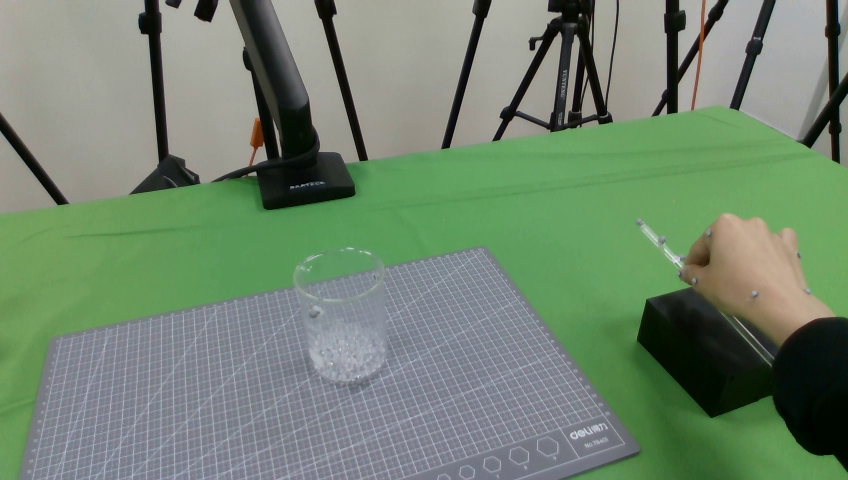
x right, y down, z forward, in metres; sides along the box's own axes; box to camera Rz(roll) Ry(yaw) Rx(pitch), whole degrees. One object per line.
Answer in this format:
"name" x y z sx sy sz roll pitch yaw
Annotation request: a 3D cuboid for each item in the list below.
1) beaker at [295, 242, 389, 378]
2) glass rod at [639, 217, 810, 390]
"beaker" -0.070 0.062 0.523 0.083 0.101 0.074 19 39 26
"glass rod" 0.244 0.044 0.508 0.008 0.008 0.197 -15 47 -19
